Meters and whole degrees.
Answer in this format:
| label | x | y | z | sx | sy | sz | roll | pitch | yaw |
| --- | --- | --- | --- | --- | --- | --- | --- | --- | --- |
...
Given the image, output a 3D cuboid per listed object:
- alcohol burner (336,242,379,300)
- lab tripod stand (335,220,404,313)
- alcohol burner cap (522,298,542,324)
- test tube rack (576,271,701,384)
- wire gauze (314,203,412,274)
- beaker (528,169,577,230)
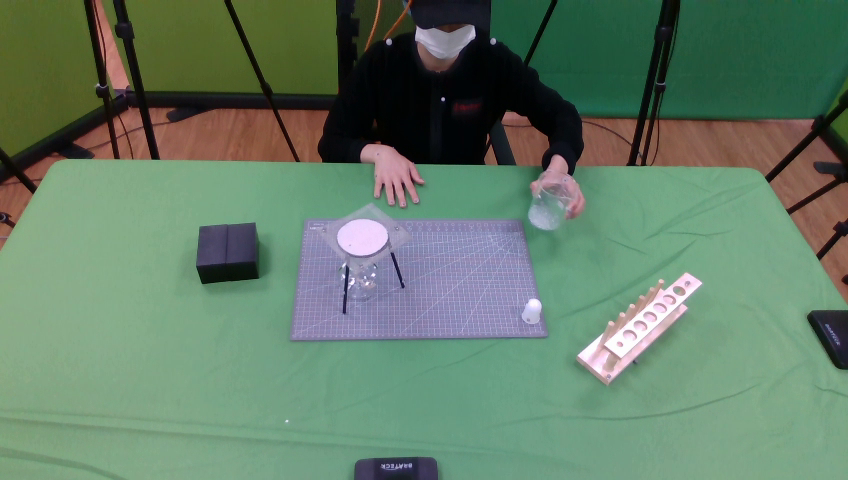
| label | x | y | z | sx | sy | sz | roll | pitch | yaw |
| --- | --- | --- | --- | --- | --- | --- | --- | --- | --- |
| alcohol burner | -0.118 | 0.050 | 1.072 | 0.078 | 0.120 | 0.077 | 2 | 44 | -1 |
| lab tripod stand | -0.110 | 0.039 | 1.070 | 0.148 | 0.132 | 0.147 | 1 | 46 | -1 |
| alcohol burner cap | 0.193 | 0.124 | 1.074 | 0.034 | 0.048 | 0.033 | 2 | 46 | -1 |
| test tube rack | 0.373 | 0.138 | 1.047 | 0.242 | 0.085 | 0.066 | -31 | 56 | -29 |
| wire gauze | -0.103 | -0.009 | 1.023 | 0.121 | 0.011 | 0.124 | -29 | 53 | -27 |
| beaker | 0.244 | -0.072 | 1.155 | 0.074 | 0.101 | 0.083 | -34 | 62 | -30 |
